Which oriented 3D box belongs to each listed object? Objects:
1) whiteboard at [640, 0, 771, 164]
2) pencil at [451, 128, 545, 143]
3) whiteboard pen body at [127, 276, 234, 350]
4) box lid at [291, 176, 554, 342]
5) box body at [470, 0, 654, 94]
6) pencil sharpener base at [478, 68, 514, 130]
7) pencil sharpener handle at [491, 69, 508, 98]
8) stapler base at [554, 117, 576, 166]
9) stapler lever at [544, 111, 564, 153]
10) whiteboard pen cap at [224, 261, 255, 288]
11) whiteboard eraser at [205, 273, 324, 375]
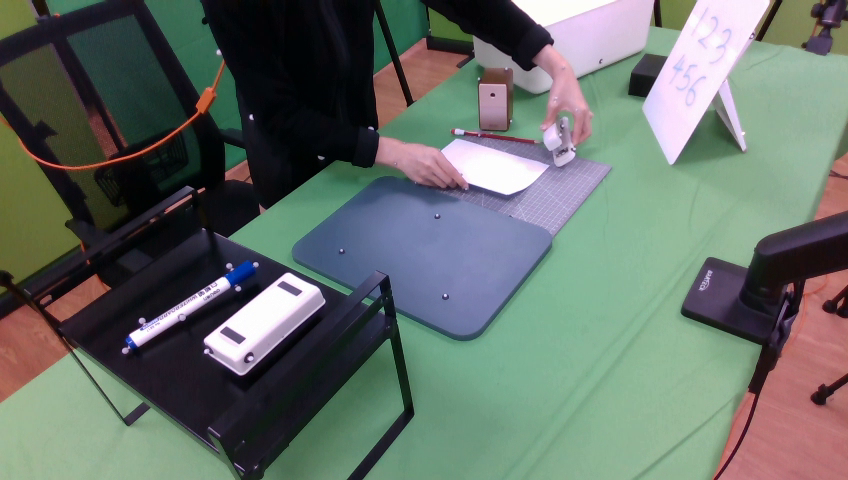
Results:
[{"bbox_3d":[0.543,-0.299,1.076,0.144,0.305,0.216,12,40,-7],"label":"whiteboard"},{"bbox_3d":[0.146,-0.207,1.206,0.193,0.012,0.012,11,43,19],"label":"pencil"},{"bbox_3d":[-0.251,0.071,0.649,0.141,0.017,0.017,-36,48,-26],"label":"whiteboard pen body"},{"bbox_3d":[-0.005,0.011,0.971,0.368,0.015,0.264,21,49,30],"label":"box lid"},{"bbox_3d":[0.319,-0.498,1.405,0.365,0.161,0.252,-26,43,-21],"label":"box body"},{"bbox_3d":[0.148,-0.286,1.225,0.061,0.107,0.076,4,41,15],"label":"pencil sharpener base"},{"bbox_3d":[0.155,-0.329,1.254,0.036,0.068,0.030,16,43,4],"label":"pencil sharpener handle"},{"bbox_3d":[0.255,-0.190,1.132,0.041,0.024,0.130,-28,35,27],"label":"stapler base"},{"bbox_3d":[0.239,-0.205,1.120,0.026,0.040,0.117,-28,36,27],"label":"stapler lever"},{"bbox_3d":[-0.207,0.039,0.677,0.033,0.018,0.018,-36,47,-18],"label":"whiteboard pen cap"},{"bbox_3d":[-0.157,0.084,0.605,0.055,0.042,0.113,24,49,30],"label":"whiteboard eraser"}]
